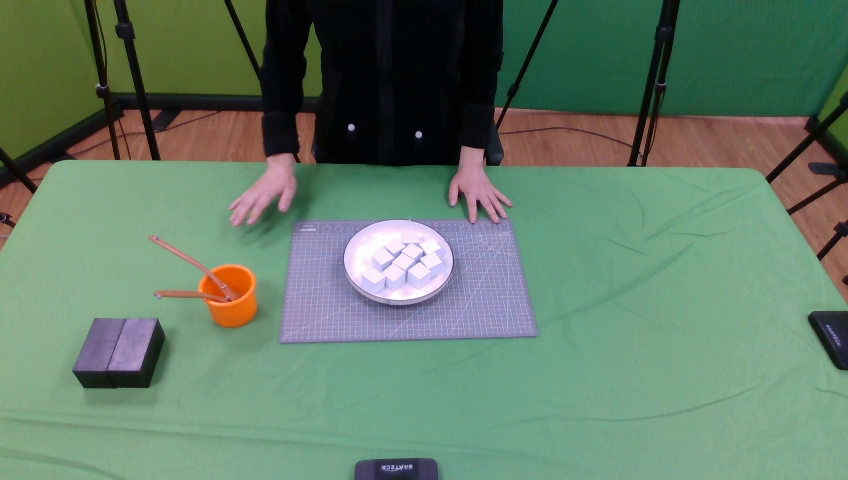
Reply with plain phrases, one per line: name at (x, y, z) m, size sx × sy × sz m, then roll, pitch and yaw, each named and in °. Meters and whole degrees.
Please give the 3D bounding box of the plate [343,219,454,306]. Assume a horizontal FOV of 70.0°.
plate at (-0.048, 0.045, 1.136) m, size 0.208 × 0.039 × 0.206 m, roll 2°, pitch 46°, yaw -2°

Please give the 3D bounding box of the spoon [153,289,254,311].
spoon at (-0.355, 0.094, 0.990) m, size 0.021 × 0.195 × 0.041 m, roll -49°, pitch 59°, yaw 11°

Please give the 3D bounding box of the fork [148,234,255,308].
fork at (-0.372, 0.054, 1.020) m, size 0.208 × 0.018 × 0.028 m, roll 43°, pitch 22°, yaw -22°
